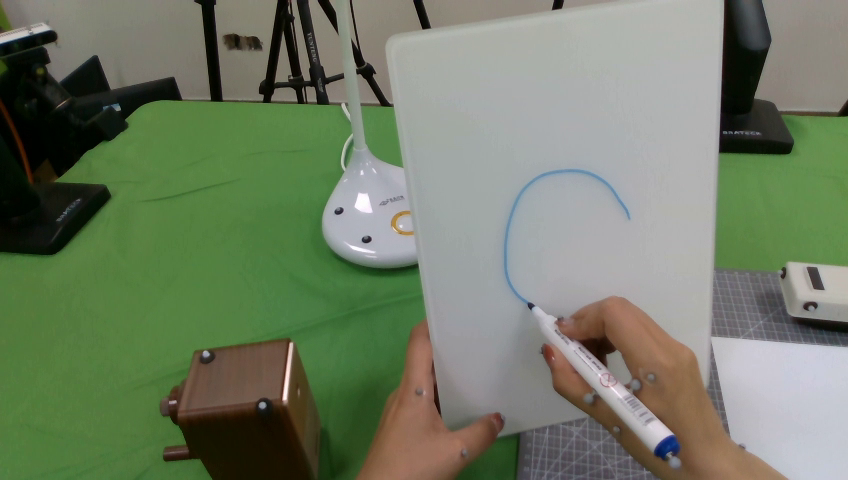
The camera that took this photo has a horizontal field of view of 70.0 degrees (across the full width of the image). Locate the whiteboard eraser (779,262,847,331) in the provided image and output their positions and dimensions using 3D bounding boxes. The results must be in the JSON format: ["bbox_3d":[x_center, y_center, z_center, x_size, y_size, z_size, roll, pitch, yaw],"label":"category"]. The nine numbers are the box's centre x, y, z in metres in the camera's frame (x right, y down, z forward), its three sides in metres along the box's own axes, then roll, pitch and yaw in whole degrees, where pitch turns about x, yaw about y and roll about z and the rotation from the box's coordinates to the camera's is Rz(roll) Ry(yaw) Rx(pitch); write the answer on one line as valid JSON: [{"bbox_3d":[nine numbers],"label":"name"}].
[{"bbox_3d":[0.373,0.051,0.523,0.112,0.042,0.055,6,42,13],"label":"whiteboard eraser"}]

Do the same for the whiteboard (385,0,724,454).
[{"bbox_3d":[0.094,-0.020,0.482,0.217,0.307,0.142,-10,21,-5],"label":"whiteboard"}]

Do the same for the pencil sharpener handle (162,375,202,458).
[{"bbox_3d":[-0.173,0.127,0.425,0.030,0.068,0.035,-7,28,-1],"label":"pencil sharpener handle"}]

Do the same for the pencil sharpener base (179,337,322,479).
[{"bbox_3d":[-0.122,0.129,0.437,0.077,0.108,0.060,-7,40,-1],"label":"pencil sharpener base"}]

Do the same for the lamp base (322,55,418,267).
[{"bbox_3d":[-0.047,-0.091,0.633,0.161,0.182,0.177,-29,43,-25],"label":"lamp base"}]

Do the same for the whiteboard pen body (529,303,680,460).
[{"bbox_3d":[0.105,0.080,0.379,0.017,0.017,0.139,-20,38,-17],"label":"whiteboard pen body"}]
